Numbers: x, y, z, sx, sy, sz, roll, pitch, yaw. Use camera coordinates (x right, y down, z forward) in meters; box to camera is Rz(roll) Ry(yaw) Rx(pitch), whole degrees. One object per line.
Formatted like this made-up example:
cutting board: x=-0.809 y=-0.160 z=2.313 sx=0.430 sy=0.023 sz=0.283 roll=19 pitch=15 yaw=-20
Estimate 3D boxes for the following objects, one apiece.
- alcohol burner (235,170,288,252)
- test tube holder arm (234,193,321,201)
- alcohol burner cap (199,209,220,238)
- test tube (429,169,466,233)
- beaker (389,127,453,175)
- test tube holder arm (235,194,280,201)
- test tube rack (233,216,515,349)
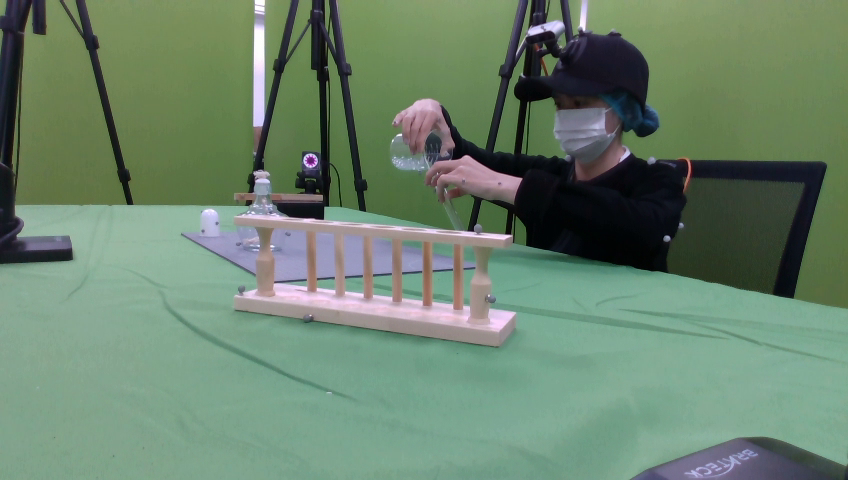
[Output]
alcohol burner: x=-0.236 y=-0.042 z=0.882 sx=0.078 sy=0.119 sz=0.078 roll=2 pitch=9 yaw=0
test tube holder arm: x=-0.299 y=-0.088 z=1.248 sx=0.179 sy=0.015 sz=0.013 roll=-1 pitch=16 yaw=-30
alcohol burner cap: x=-0.356 y=-0.027 z=1.002 sx=0.034 sy=0.048 sz=0.034 roll=2 pitch=7 yaw=0
test tube: x=0.039 y=-0.062 z=1.021 sx=0.017 sy=0.017 sz=0.149 roll=-1 pitch=51 yaw=-29
beaker: x=-0.009 y=-0.159 z=1.097 sx=0.100 sy=0.084 sz=0.074 roll=6 pitch=-6 yaw=45
test tube holder arm: x=-0.336 y=-0.086 z=1.221 sx=0.088 sy=0.015 sz=0.010 roll=-1 pitch=16 yaw=-29
test tube rack: x=-0.045 y=0.029 z=0.526 sx=0.241 sy=0.085 sz=0.067 roll=5 pitch=8 yaw=19
